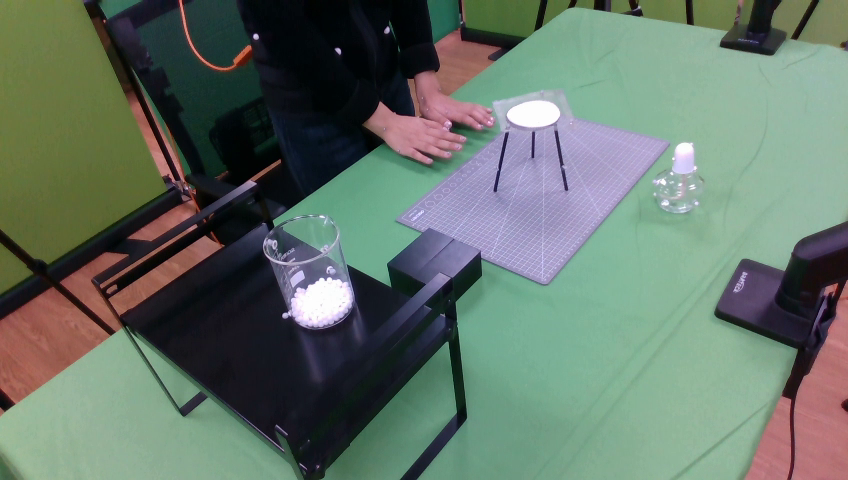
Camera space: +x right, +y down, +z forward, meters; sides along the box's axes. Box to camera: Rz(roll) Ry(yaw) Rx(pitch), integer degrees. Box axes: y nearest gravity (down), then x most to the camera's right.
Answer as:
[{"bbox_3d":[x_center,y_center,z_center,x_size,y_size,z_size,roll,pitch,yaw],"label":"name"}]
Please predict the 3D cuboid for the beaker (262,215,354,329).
[{"bbox_3d":[-0.112,0.034,0.616,0.073,0.101,0.084,13,44,23],"label":"beaker"}]

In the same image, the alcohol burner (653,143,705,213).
[{"bbox_3d":[0.408,-0.102,0.963,0.078,0.119,0.077,-5,42,5],"label":"alcohol burner"}]

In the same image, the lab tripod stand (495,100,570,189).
[{"bbox_3d":[0.186,-0.161,1.043,0.148,0.132,0.147,-4,43,5],"label":"lab tripod stand"}]

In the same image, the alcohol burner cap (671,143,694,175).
[{"bbox_3d":[0.403,-0.129,0.941,0.034,0.048,0.033,-9,39,8],"label":"alcohol burner cap"}]

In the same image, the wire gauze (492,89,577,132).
[{"bbox_3d":[0.181,-0.213,1.002,0.125,0.011,0.121,-5,41,3],"label":"wire gauze"}]
